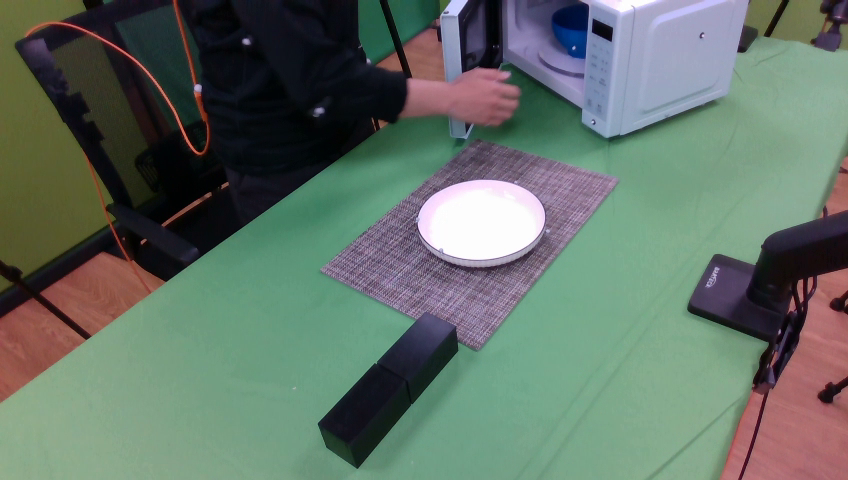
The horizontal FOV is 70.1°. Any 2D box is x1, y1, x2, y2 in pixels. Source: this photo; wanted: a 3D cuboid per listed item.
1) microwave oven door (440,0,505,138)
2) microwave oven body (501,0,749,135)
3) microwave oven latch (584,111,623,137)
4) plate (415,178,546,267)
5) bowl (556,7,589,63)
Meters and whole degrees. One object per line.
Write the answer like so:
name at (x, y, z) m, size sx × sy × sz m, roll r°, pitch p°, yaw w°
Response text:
microwave oven door at (0.108, -0.405, 1.231) m, size 0.039 × 0.245 × 0.355 m, roll 7°, pitch 43°, yaw 17°
microwave oven body at (0.382, -0.444, 1.246) m, size 0.327 × 0.261 × 0.437 m, roll -22°, pitch 42°, yaw -16°
microwave oven latch at (0.337, -0.222, 1.142) m, size 0.030 × 0.029 × 0.078 m, roll -21°, pitch 42°, yaw -14°
plate at (0.091, -0.026, 0.970) m, size 0.207 × 0.039 × 0.206 m, roll -4°, pitch 41°, yaw 4°
bowl at (0.354, -0.429, 1.287) m, size 0.151 × 0.077 × 0.150 m, roll -1°, pitch 41°, yaw 1°
